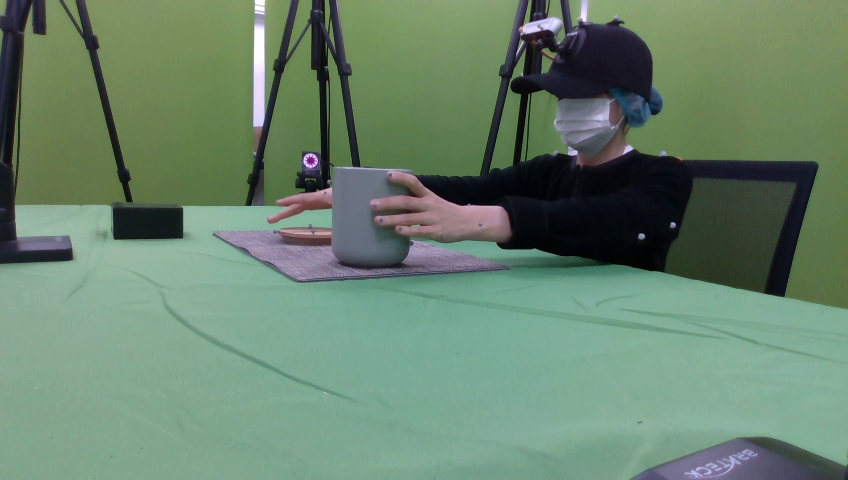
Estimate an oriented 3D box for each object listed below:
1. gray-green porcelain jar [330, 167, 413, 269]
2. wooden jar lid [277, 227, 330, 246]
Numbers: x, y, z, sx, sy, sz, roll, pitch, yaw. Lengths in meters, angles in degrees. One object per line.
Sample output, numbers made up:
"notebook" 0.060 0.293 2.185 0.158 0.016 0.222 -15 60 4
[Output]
"gray-green porcelain jar" -0.069 -0.030 0.791 0.106 0.126 0.106 3 7 0
"wooden jar lid" -0.183 -0.006 0.978 0.108 0.020 0.108 3 9 0
